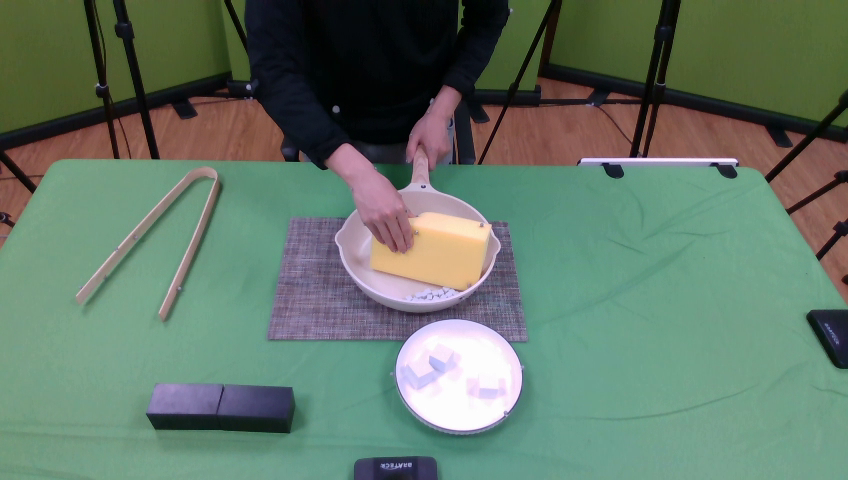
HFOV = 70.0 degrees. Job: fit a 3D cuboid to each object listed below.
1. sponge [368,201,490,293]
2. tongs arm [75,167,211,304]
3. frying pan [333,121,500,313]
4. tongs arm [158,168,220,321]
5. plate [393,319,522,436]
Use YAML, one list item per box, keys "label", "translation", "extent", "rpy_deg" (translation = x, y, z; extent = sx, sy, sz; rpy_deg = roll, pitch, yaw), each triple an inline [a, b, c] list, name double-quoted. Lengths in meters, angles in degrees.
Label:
- label: "sponge"
  translation: [0.007, 0.012, 1.102]
  extent: [0.206, 0.118, 0.060]
  rpy_deg: [12, 33, 9]
- label: "tongs arm"
  translation: [-0.525, -0.021, 1.167]
  extent: [0.051, 0.026, 0.383]
  rpy_deg: [13, 46, 7]
- label: "frying pan"
  translation: [-0.010, -0.062, 1.194]
  extent: [0.307, 0.103, 0.485]
  rpy_deg: [4, 55, -2]
- label: "tongs arm"
  translation: [-0.446, -0.006, 1.164]
  extent: [0.028, 0.028, 0.385]
  rpy_deg: [1, 46, 0]
- label: "plate"
  translation: [0.053, 0.222, 0.979]
  extent: [0.208, 0.039, 0.206]
  rpy_deg: [3, 46, -2]
